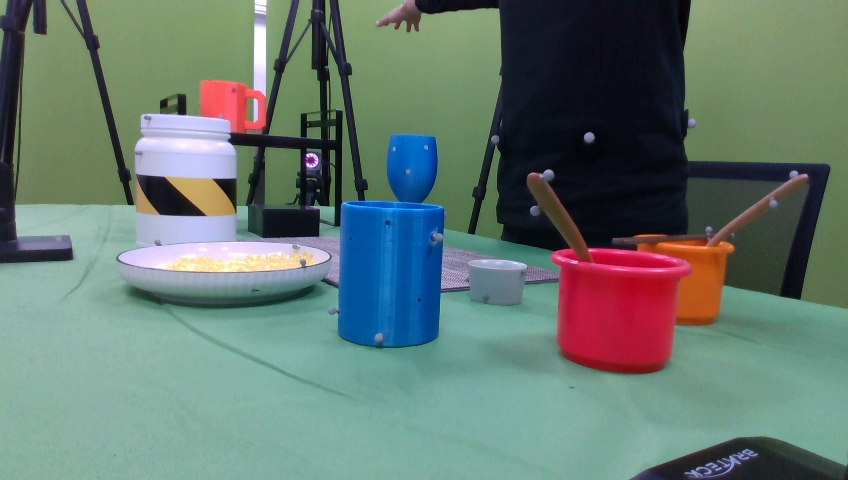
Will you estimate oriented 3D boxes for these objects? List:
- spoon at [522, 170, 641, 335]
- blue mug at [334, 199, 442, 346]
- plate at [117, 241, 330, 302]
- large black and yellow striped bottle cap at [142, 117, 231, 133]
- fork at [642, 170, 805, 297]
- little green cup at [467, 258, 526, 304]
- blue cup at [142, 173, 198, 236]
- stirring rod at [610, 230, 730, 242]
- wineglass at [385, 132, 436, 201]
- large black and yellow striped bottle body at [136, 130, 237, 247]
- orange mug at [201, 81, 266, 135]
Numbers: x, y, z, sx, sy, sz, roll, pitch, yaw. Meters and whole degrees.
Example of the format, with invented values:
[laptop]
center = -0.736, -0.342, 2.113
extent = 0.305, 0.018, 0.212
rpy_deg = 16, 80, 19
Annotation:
[spoon]
center = 0.110, 0.016, 0.424
extent = 0.041, 0.021, 0.194
rpy_deg = 7, -35, 43
[blue mug]
center = -0.034, 0.020, 0.498
extent = 0.083, 0.106, 0.116
rpy_deg = 0, 7, -20
[plate]
center = -0.203, 0.031, 0.630
extent = 0.209, 0.038, 0.209
rpy_deg = 3, 7, 0
[large black and yellow striped bottle cap]
center = -0.328, -0.159, 0.839
extent = 0.115, 0.019, 0.115
rpy_deg = 1, 8, 0
[fork]
center = 0.261, 0.004, 0.545
extent = 0.028, 0.018, 0.207
rpy_deg = 5, -38, -15
[little green cup]
center = 0.074, 0.042, 0.626
extent = 0.061, 0.038, 0.061
rpy_deg = 3, 7, 0
[blue cup]
center = -0.425, -0.060, 1.014
extent = 0.093, 0.100, 0.092
rpy_deg = 4, 9, 0
[stirring rod]
center = 0.241, -0.004, 0.582
extent = 0.177, 0.006, 0.014
rpy_deg = -3, 9, -34
[wineglass]
center = -0.020, -0.061, 0.842
extent = 0.074, 0.172, 0.073
rpy_deg = 2, 7, 0
[large black and yellow striped bottle body]
center = -0.332, -0.076, 0.851
extent = 0.131, 0.184, 0.130
rpy_deg = 3, 8, 0
[orange mug]
center = -0.376, -0.260, 1.198
extent = 0.126, 0.101, 0.083
rpy_deg = -3, 8, -6
